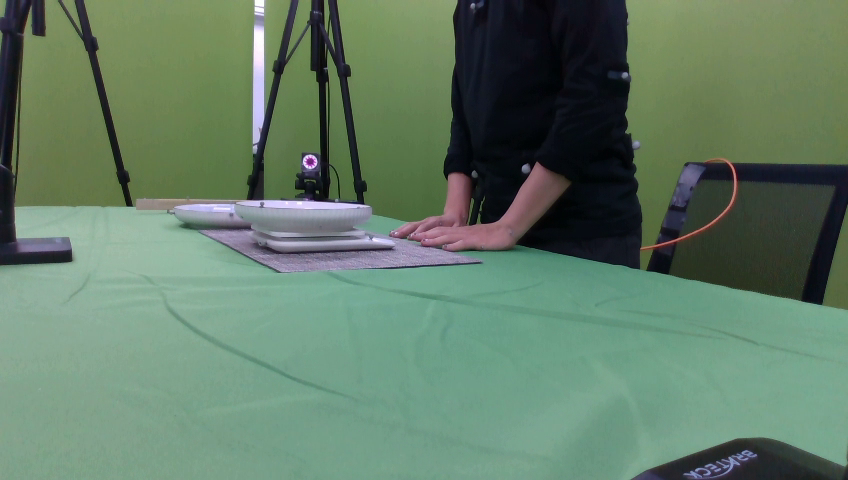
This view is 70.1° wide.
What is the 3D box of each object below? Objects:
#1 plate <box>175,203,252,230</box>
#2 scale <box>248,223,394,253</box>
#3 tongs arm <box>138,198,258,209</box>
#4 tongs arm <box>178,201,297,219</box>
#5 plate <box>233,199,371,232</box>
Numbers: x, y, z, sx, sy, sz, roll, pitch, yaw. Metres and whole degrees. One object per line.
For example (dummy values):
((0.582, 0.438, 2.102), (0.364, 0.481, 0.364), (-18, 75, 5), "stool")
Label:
((-0.381, -0.047, 1.199), (0.208, 0.039, 0.207), (3, 7, 0), "plate")
((-0.162, -0.006, 0.954), (0.202, 0.031, 0.148), (-2, 8, -32), "scale")
((-0.489, -0.086, 1.472), (0.050, 0.026, 0.387), (10, 9, 42), "tongs arm")
((-0.418, -0.072, 1.420), (0.028, 0.028, 0.389), (4, 7, 27), "tongs arm")
((-0.188, -0.039, 0.939), (0.209, 0.038, 0.209), (3, 7, 0), "plate")
